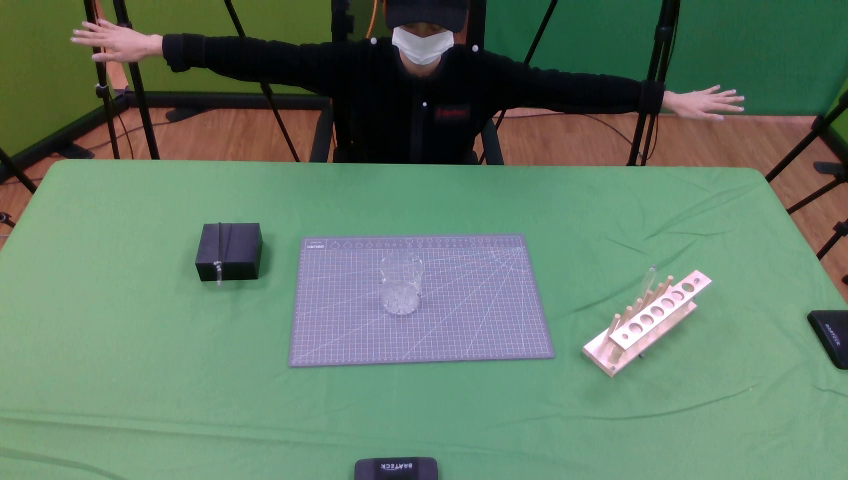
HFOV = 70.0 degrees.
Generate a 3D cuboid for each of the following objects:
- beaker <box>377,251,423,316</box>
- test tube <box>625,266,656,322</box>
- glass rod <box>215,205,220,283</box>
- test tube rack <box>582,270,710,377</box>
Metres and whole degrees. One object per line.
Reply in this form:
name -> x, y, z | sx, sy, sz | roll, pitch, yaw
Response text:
beaker -> -0.040, 0.081, 1.060 | 0.074, 0.101, 0.083 | -32, 57, -30
test tube -> 0.366, 0.096, 1.027 | 0.017, 0.151, 0.017 | 1, 47, 0
glass rod -> -0.376, 0.003, 1.104 | 0.008, 0.008, 0.198 | -8, 47, -12
test tube rack -> 0.389, 0.132, 1.057 | 0.242, 0.085, 0.066 | -28, 54, -28
